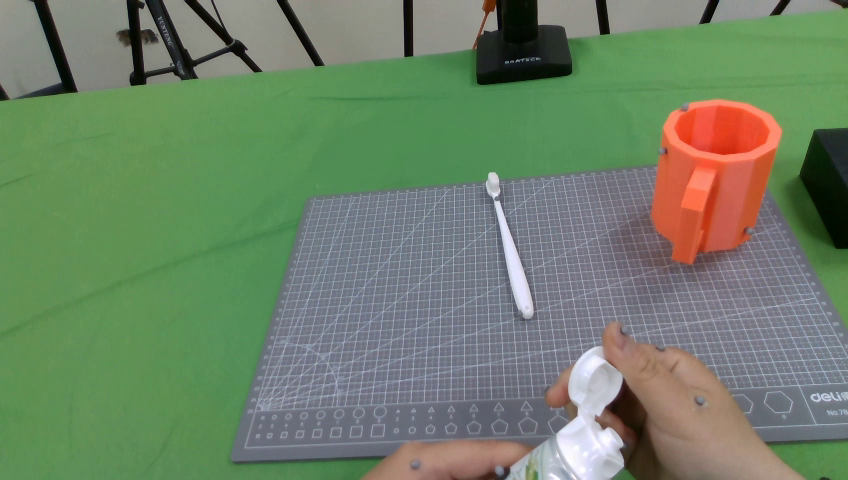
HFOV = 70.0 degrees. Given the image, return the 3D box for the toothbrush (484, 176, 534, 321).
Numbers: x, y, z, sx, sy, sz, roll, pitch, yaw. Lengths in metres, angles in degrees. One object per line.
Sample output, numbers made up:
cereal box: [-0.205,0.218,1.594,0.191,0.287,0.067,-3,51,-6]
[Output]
toothbrush: [0.076,0.001,0.548,0.014,0.017,0.180,1,43,-9]

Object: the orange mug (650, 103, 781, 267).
orange mug: [0.231,-0.040,0.498,0.083,0.102,0.126,17,45,27]

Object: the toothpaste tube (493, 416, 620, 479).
toothpaste tube: [0.035,0.148,0.312,0.165,0.035,0.054,-47,54,15]

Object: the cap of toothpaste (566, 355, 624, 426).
cap of toothpaste: [0.088,0.076,0.307,0.037,0.037,0.011,-30,23,-20]
